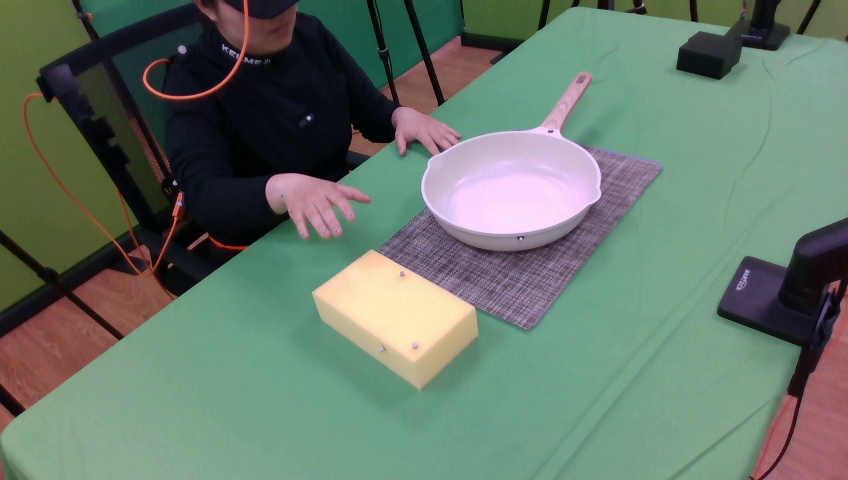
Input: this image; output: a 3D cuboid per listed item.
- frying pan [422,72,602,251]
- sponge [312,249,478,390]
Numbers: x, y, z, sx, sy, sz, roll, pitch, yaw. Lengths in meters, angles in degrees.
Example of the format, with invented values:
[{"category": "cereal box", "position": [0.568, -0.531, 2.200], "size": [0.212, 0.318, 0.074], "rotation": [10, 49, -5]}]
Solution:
[{"category": "frying pan", "position": [0.199, -0.155, 1.062], "size": [0.304, 0.103, 0.488], "rotation": [19, 56, 28]}, {"category": "sponge", "position": [-0.042, 0.103, 0.843], "size": [0.205, 0.061, 0.118], "rotation": [27, 52, 35]}]
